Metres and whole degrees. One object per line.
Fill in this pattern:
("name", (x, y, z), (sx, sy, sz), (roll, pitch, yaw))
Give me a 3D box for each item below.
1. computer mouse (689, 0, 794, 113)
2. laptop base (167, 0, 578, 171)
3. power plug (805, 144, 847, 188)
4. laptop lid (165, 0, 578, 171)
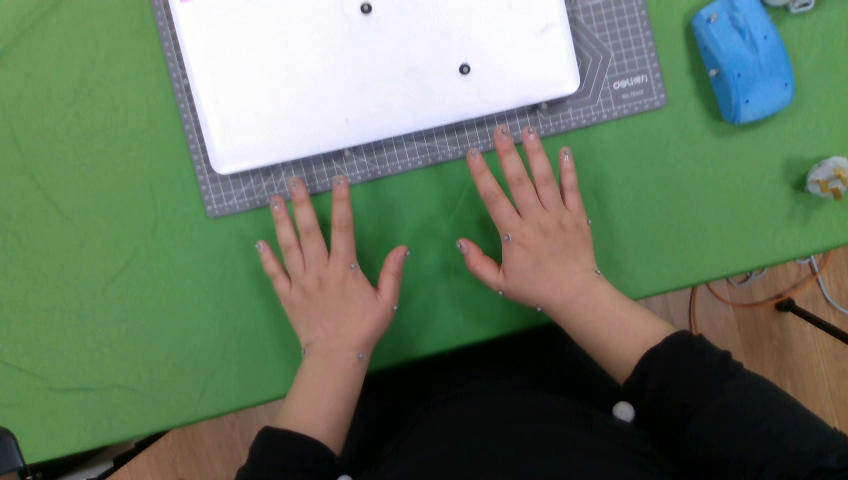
("computer mouse", (0.290, -0.177, 0.550), (0.063, 0.041, 0.117), (-19, 89, 4))
("laptop base", (-0.054, -0.218, 0.560), (0.354, 0.023, 0.236), (-14, 97, 1))
("power plug", (0.387, -0.068, 0.547), (0.072, 0.052, 0.035), (0, 131, 18))
("laptop lid", (-0.054, -0.215, 0.549), (0.357, 0.013, 0.242), (-12, 96, 2))
